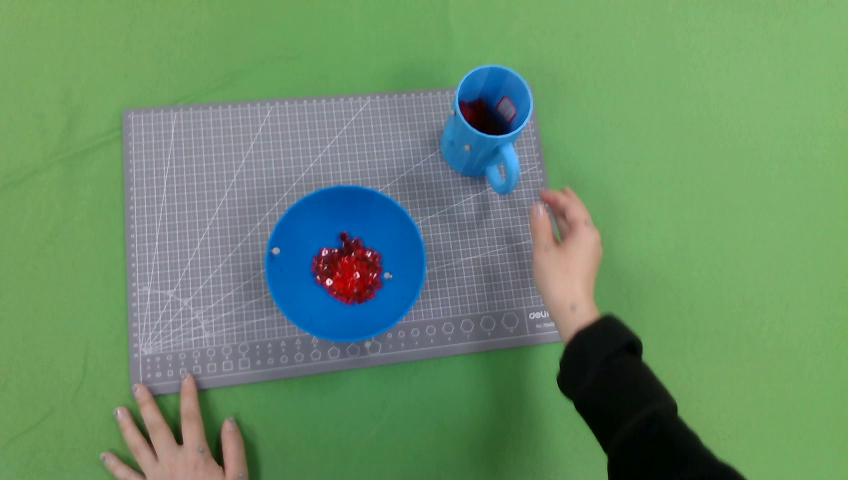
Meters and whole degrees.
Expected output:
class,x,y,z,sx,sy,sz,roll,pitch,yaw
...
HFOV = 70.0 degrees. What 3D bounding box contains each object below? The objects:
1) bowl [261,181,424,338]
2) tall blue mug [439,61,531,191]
class,x,y,z,sx,sy,sz,roll,pitch,yaw
bowl,-0.078,0.024,0.598,0.152,0.077,0.150,2,78,-7
tall blue mug,0.071,-0.113,0.629,0.107,0.108,0.077,41,75,4
